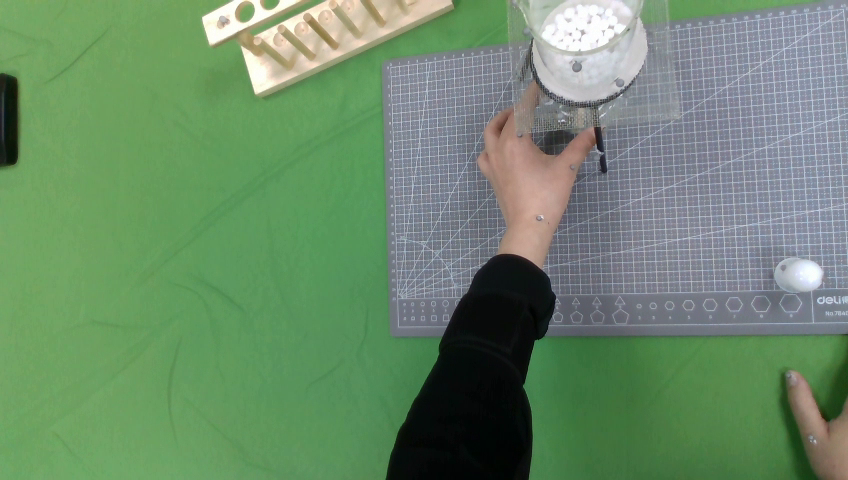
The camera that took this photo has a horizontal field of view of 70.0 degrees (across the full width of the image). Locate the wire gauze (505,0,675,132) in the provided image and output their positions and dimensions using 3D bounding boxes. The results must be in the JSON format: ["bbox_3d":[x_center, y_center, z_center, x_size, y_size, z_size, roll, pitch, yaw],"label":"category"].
[{"bbox_3d":[0.127,-0.148,0.473,0.125,0.011,0.121,-3,90,13],"label":"wire gauze"}]

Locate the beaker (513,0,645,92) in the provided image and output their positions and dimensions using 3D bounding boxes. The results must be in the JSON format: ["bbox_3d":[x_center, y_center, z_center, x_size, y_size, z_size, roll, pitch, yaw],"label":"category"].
[{"bbox_3d":[0.109,-0.151,0.428,0.083,0.100,0.074,11,91,16],"label":"beaker"}]

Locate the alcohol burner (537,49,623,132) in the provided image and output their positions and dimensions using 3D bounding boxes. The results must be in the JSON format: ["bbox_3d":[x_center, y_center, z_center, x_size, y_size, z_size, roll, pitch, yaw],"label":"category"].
[{"bbox_3d":[0.140,-0.140,0.548,0.077,0.119,0.078,-1,86,14],"label":"alcohol burner"}]

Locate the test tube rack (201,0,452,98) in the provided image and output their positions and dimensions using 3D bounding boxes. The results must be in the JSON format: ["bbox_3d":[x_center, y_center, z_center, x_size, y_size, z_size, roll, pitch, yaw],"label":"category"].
[{"bbox_3d":[-0.101,-0.237,0.637,0.242,0.085,0.066,-20,82,14],"label":"test tube rack"}]

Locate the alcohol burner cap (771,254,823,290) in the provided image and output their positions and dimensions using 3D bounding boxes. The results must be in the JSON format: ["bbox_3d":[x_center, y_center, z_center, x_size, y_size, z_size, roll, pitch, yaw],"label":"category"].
[{"bbox_3d":[0.326,0.027,0.526,0.034,0.048,0.034,-1,86,15],"label":"alcohol burner cap"}]

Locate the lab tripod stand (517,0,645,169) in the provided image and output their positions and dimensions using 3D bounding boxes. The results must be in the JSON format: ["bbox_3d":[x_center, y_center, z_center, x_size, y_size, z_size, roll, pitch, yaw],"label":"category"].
[{"bbox_3d":[0.145,-0.144,0.536,0.148,0.132,0.148,0,88,14],"label":"lab tripod stand"}]
